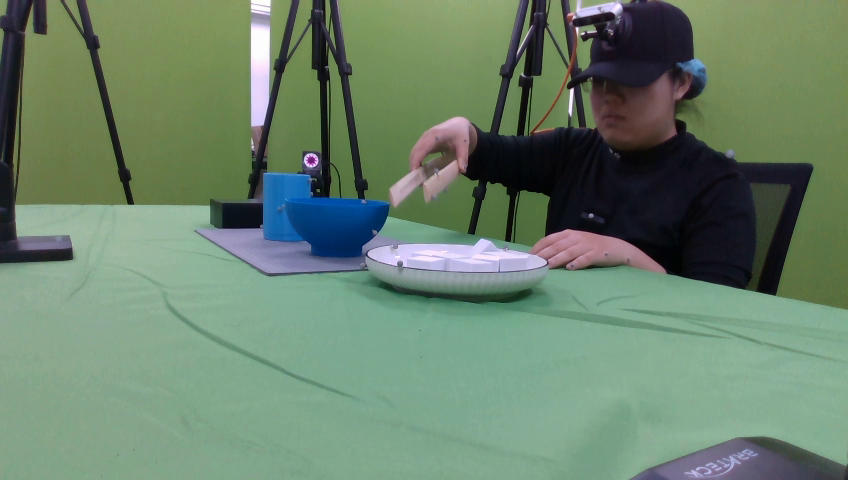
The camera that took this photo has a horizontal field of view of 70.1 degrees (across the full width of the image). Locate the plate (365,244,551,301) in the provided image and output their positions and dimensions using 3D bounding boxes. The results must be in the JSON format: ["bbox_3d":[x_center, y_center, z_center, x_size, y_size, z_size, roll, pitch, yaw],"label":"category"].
[{"bbox_3d":[0.038,0.035,0.685,0.209,0.038,0.209,2,7,0],"label":"plate"}]

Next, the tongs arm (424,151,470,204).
[{"bbox_3d":[0.030,-0.103,0.941,0.050,0.026,0.385,-9,13,17],"label":"tongs arm"}]

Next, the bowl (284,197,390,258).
[{"bbox_3d":[-0.125,-0.018,0.870,0.151,0.077,0.151,3,7,0],"label":"bowl"}]

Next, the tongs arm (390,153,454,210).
[{"bbox_3d":[0.002,-0.099,0.948,0.028,0.028,0.388,-13,11,15],"label":"tongs arm"}]

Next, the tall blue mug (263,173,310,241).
[{"bbox_3d":[-0.233,-0.058,1.019,0.078,0.108,0.107,-1,8,-19],"label":"tall blue mug"}]
